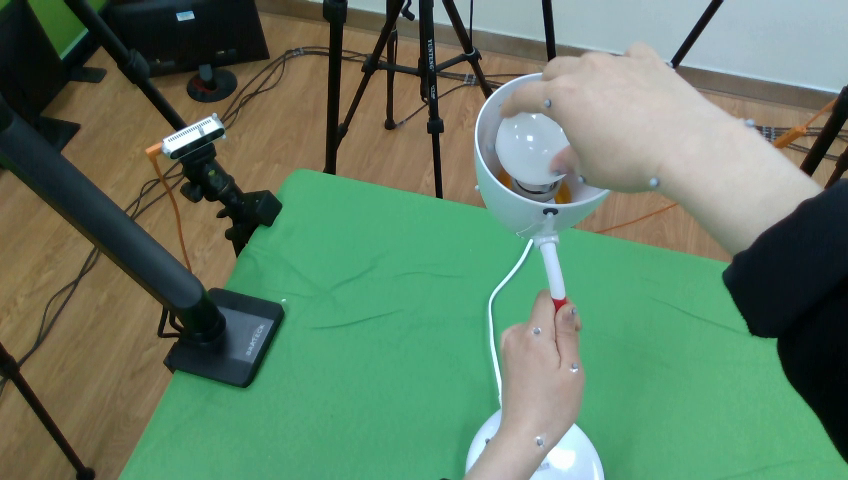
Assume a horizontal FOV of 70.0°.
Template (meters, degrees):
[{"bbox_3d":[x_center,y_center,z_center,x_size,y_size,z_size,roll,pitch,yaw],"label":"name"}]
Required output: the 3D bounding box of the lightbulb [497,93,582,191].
[{"bbox_3d":[0.085,-0.065,0.453,0.059,0.108,0.059,-2,70,7],"label":"lightbulb"}]

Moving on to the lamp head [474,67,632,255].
[{"bbox_3d":[0.092,-0.051,0.475,0.112,0.124,0.111,0,62,1],"label":"lamp head"}]

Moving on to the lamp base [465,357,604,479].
[{"bbox_3d":[0.122,0.212,0.646,0.161,0.182,0.177,-22,57,-14],"label":"lamp base"}]
